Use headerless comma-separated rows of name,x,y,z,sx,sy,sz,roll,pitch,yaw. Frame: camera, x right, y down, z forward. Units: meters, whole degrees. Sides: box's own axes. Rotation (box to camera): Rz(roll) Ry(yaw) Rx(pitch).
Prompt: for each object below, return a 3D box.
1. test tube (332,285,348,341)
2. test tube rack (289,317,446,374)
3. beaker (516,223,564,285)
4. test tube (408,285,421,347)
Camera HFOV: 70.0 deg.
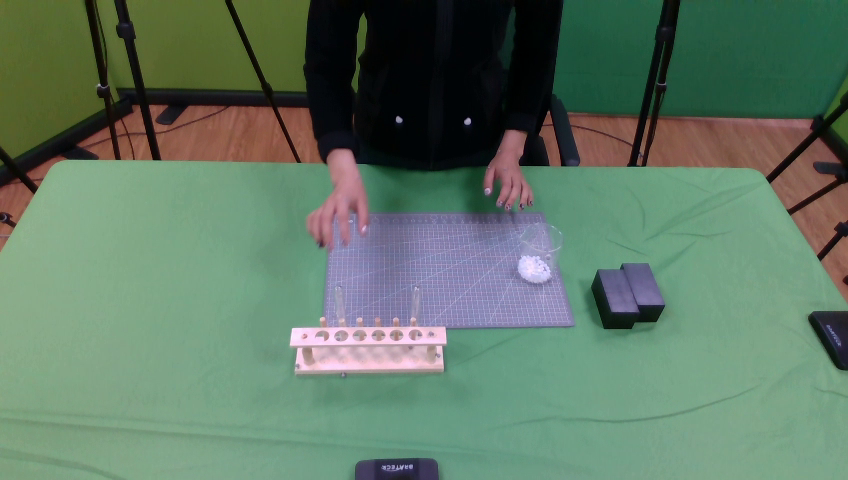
test tube,-0.133,0.122,0.965,0.017,0.151,0.017,1,47,-1
test tube rack,-0.089,0.167,0.988,0.242,0.085,0.066,0,46,-4
beaker,0.211,0.029,1.131,0.084,0.101,0.073,-1,46,-4
test tube,-0.016,0.123,0.973,0.017,0.151,0.017,3,46,-2
